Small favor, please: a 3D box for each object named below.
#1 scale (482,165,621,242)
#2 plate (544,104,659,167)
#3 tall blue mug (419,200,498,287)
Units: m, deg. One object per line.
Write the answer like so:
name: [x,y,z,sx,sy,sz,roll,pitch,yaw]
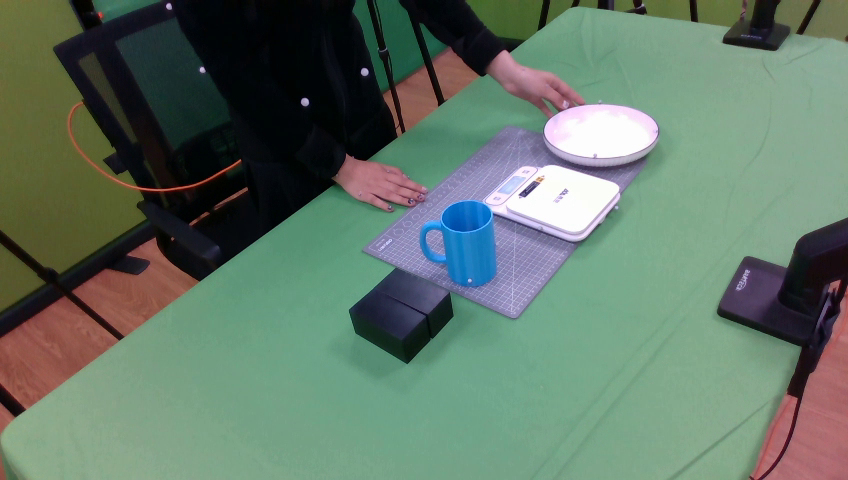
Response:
scale: [0.211,-0.070,1.014,0.199,0.032,0.149,23,49,33]
plate: [0.328,-0.192,1.131,0.209,0.038,0.208,-4,39,4]
tall blue mug: [0.053,0.010,0.889,0.107,0.108,0.077,-15,41,-7]
